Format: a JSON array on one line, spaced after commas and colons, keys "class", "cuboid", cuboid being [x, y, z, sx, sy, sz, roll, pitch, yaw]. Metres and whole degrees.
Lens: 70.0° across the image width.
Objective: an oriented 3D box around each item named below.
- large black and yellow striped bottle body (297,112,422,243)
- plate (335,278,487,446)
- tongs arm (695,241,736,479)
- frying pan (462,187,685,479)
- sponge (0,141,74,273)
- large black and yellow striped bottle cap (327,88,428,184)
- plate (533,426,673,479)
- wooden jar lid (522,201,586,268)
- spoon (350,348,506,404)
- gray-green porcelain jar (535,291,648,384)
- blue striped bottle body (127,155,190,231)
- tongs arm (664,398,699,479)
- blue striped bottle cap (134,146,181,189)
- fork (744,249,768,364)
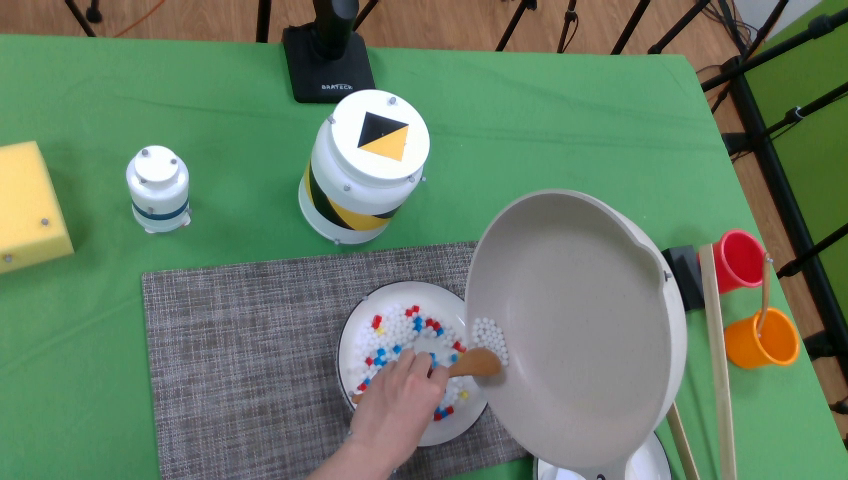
[{"class": "large black and yellow striped bottle body", "cuboid": [-0.080, -0.086, 0.751, 0.131, 0.184, 0.130, 8, 66, -18]}, {"class": "plate", "cuboid": [-0.012, 0.151, 0.762, 0.210, 0.038, 0.207, 8, 67, -19]}, {"class": "tongs arm", "cuboid": [0.428, 0.192, 0.894, 0.028, 0.027, 0.386, 5, 78, -27]}, {"class": "frying pan", "cuboid": [0.170, 0.180, 0.608, 0.103, 0.307, 0.483, 6, 60, -30]}, {"class": "sponge", "cuboid": [-0.496, -0.017, 0.628, 0.207, 0.061, 0.117, -20, 78, -28]}, {"class": "large black and yellow striped bottle cap", "cuboid": [-0.051, -0.117, 0.678, 0.115, 0.019, 0.114, 8, 68, -19]}, {"class": "plate", "cuboid": [0.233, 0.310, 0.802, 0.209, 0.039, 0.206, 8, 67, -18]}, {"class": "wooden jar lid", "cuboid": [0.195, -0.007, 0.922, 0.109, 0.021, 0.107, 7, 69, -19]}, {"class": "spoon", "cuboid": [0.009, 0.158, 0.682, 0.194, 0.022, 0.041, -12, 55, -22]}, {"class": "gray-green porcelain jar", "cuboid": [0.218, 0.136, 0.814, 0.106, 0.127, 0.105, 8, 67, -18]}, {"class": "blue striped bottle body", "cuboid": [-0.300, -0.060, 0.688, 0.063, 0.121, 0.062, 8, 67, -18]}, {"class": "tongs arm", "cuboid": [0.350, 0.199, 0.860, 0.051, 0.026, 0.383, -12, 84, -26]}, {"class": "blue striped bottle cap", "cuboid": [-0.283, -0.077, 0.643, 0.045, 0.021, 0.044, 8, 65, -16]}, {"class": "fork", "cuboid": [0.511, 0.106, 0.928, 0.028, 0.018, 0.209, -20, 122, -19]}]
